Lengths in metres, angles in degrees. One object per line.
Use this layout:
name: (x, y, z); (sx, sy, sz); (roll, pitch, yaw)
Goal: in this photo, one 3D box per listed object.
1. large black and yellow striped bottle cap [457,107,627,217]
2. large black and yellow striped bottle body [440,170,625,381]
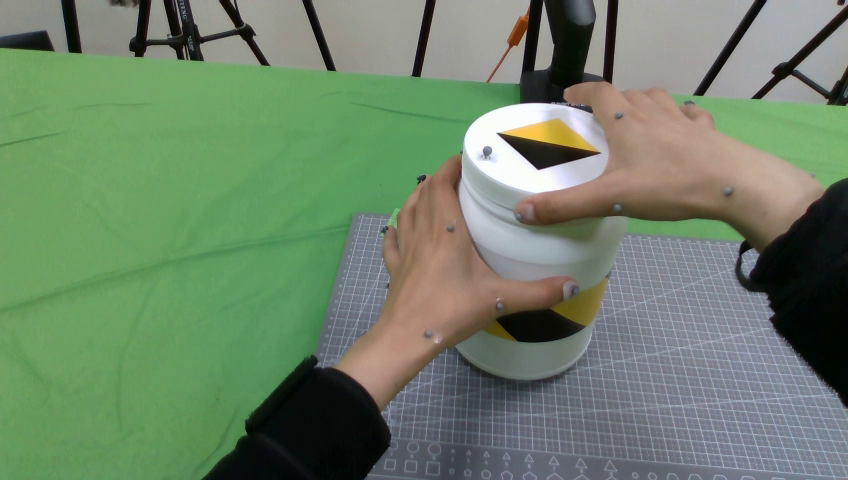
large black and yellow striped bottle cap: (0.081, -0.058, 0.418); (0.115, 0.019, 0.114); (2, 41, -1)
large black and yellow striped bottle body: (0.081, 0.008, 0.477); (0.131, 0.185, 0.129); (1, 42, -1)
